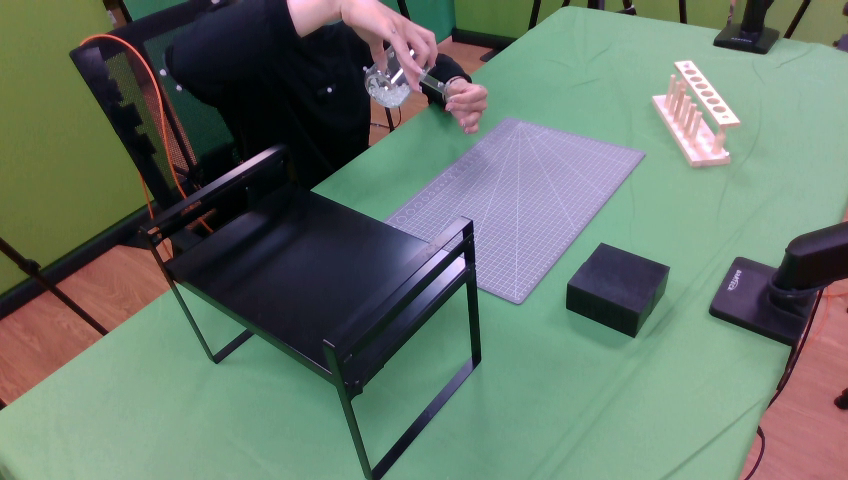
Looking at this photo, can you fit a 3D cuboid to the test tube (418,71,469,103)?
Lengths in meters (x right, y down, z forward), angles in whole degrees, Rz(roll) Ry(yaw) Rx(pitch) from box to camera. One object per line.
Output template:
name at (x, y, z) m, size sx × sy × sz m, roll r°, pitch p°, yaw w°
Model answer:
test tube at (0.036, -0.263, 1.044) m, size 0.017 × 0.017 × 0.152 m, roll 26°, pitch 10°, yaw 32°

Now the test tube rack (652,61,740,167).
test tube rack at (0.499, -0.242, 1.130) m, size 0.067 × 0.085 × 0.241 m, roll -5°, pitch 41°, yaw 3°

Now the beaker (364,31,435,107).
beaker at (-0.039, -0.259, 0.934) m, size 0.073 × 0.084 × 0.100 m, roll 14°, pitch 56°, yaw 32°
